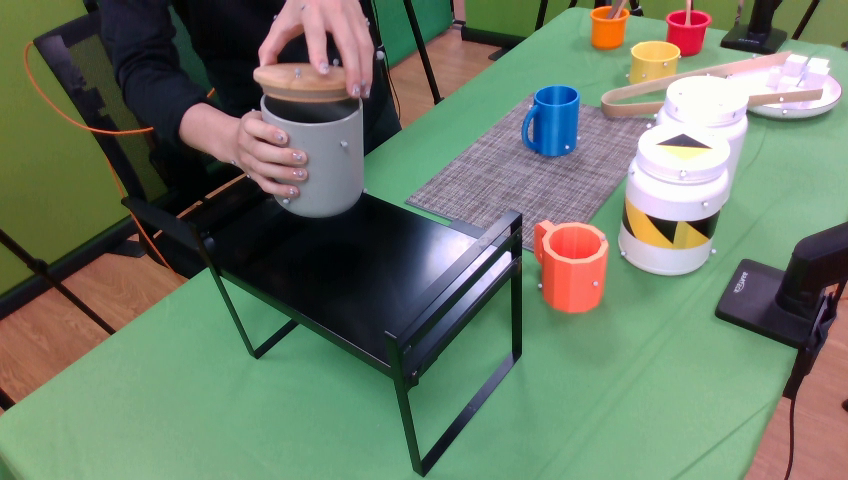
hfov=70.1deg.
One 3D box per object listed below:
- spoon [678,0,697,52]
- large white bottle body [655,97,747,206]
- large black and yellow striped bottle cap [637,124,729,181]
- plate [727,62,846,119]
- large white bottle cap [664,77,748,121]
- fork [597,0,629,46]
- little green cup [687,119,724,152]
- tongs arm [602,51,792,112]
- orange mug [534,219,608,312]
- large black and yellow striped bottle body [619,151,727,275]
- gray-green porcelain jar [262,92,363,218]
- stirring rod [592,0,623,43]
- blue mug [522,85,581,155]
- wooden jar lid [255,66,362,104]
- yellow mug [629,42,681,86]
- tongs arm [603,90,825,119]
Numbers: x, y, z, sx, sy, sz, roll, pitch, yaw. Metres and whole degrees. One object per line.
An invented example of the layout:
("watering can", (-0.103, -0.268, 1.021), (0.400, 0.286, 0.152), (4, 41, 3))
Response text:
("spoon", (0.614, -0.526, 1.402), (0.041, 0.022, 0.193), (3, 86, 11))
("large white bottle body", (0.431, -0.148, 0.959), (0.130, 0.185, 0.130), (-4, 41, 4))
("large black and yellow striped bottle cap", (0.346, -0.119, 0.810), (0.115, 0.019, 0.114), (-5, 41, 5))
("plate", (0.709, -0.292, 1.198), (0.207, 0.039, 0.206), (-4, 40, 4))
("large white bottle cap", (0.421, -0.212, 0.905), (0.115, 0.018, 0.114), (-4, 40, 4))
("fork", (0.479, -0.558, 1.455), (0.028, 0.019, 0.207), (35, 100, 38))
("little green cup", (0.514, -0.191, 1.109), (0.061, 0.039, 0.061), (-5, 40, 5))
("tongs arm", (0.552, -0.320, 1.224), (0.384, 0.027, 0.050), (-11, 44, 7))
("orange mug", (0.200, 0.027, 0.858), (0.084, 0.101, 0.125), (-24, 47, -18))
("large black and yellow striped bottle body", (0.354, -0.056, 0.865), (0.131, 0.185, 0.130), (-4, 41, 4))
("gray-green porcelain jar", (-0.121, -0.097, 0.676), (0.106, 0.127, 0.105), (3, 39, -2))
("stirring rod", (0.460, -0.557, 1.461), (0.014, 0.176, 0.006), (35, 11, 22))
("blue mug", (0.233, -0.218, 1.127), (0.117, 0.106, 0.081), (-23, 43, -16))
("wooden jar lid", (-0.119, -0.162, 0.629), (0.108, 0.021, 0.108), (4, 25, -1))
("yellow mug", (0.495, -0.389, 1.321), (0.100, 0.064, 0.130), (-14, 40, -6))
("tongs arm", (0.546, -0.262, 1.163), (0.386, 0.028, 0.028), (-1, 49, 18))
